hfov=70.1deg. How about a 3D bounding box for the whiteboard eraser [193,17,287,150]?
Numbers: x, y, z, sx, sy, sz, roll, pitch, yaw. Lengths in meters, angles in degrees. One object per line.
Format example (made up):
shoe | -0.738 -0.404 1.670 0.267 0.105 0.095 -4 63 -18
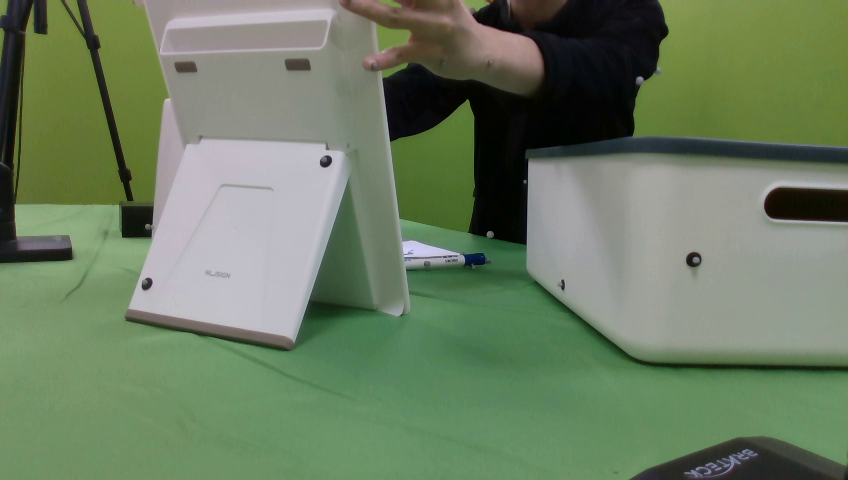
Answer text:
whiteboard eraser | -0.168 -0.136 0.540 0.055 0.112 0.042 37 35 1

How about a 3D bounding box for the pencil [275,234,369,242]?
pencil | -0.169 -0.005 1.037 0.012 0.012 0.195 10 8 44

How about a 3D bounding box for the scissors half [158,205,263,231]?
scissors half | -0.371 -0.042 1.061 0.176 0.040 0.012 8 5 -28

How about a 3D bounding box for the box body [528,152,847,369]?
box body | 0.257 -0.005 0.591 0.254 0.160 0.363 2 7 -4

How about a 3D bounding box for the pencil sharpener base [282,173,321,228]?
pencil sharpener base | -0.247 -0.080 1.212 0.061 0.107 0.076 -2 5 -28

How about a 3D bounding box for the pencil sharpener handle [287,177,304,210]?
pencil sharpener handle | -0.269 -0.096 1.257 0.036 0.067 0.030 -8 8 -27

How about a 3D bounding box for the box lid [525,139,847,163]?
box lid | 0.261 -0.078 0.580 0.264 0.015 0.371 2 7 -4

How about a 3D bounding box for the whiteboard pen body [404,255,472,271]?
whiteboard pen body | 0.013 0.030 0.792 0.141 0.017 0.017 -3 9 -23

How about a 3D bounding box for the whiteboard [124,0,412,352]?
whiteboard | -0.151 -0.049 0.471 0.216 0.305 0.144 6 27 24

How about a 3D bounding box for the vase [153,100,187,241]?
vase | -0.278 -0.066 0.736 0.098 0.200 0.098 2 8 0

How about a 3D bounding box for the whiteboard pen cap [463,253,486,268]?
whiteboard pen cap | 0.066 0.028 0.819 0.033 0.018 0.018 -8 11 -23

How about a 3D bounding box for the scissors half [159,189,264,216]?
scissors half | -0.370 -0.062 1.059 0.176 0.040 0.013 -11 8 -26

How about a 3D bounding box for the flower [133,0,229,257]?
flower | -0.282 -0.146 0.712 0.038 0.362 0.044 -23 23 -30
